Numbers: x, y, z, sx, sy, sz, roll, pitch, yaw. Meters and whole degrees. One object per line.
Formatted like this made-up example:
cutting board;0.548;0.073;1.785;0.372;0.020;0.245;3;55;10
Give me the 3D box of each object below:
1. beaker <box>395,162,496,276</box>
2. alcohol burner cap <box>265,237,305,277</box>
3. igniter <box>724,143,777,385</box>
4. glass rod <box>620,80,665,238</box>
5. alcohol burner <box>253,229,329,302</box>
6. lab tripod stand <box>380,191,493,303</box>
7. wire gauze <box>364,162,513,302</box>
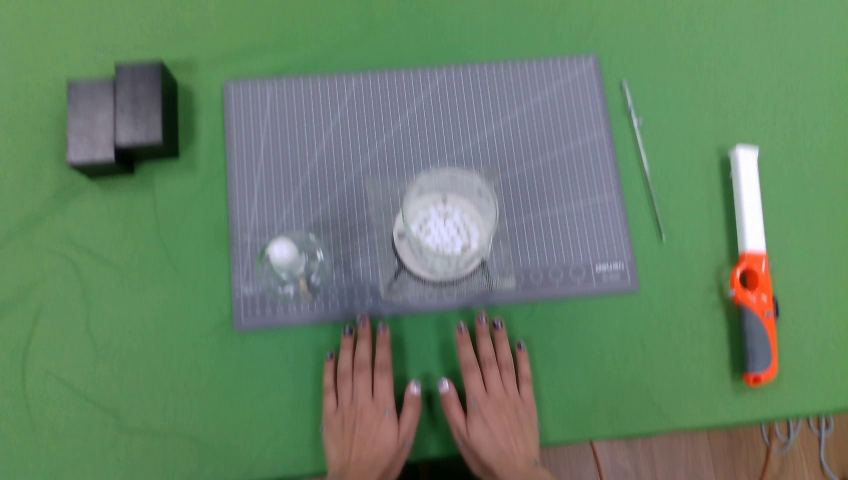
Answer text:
beaker;0.018;-0.010;0.502;0.074;0.100;0.083;-37;81;-10
alcohol burner cap;-0.135;0.015;0.579;0.034;0.048;0.033;0;74;0
igniter;0.367;0.023;0.686;0.057;0.025;0.275;4;78;-13
glass rod;0.257;-0.098;0.715;0.008;0.008;0.198;-9;79;-5
alcohol burner;-0.137;0.022;0.615;0.078;0.119;0.077;1;76;-3
lab tripod stand;0.009;0.009;0.615;0.148;0.132;0.147;0;77;-1
wire gauze;0.012;-0.009;0.551;0.125;0.011;0.121;-7;77;-2
